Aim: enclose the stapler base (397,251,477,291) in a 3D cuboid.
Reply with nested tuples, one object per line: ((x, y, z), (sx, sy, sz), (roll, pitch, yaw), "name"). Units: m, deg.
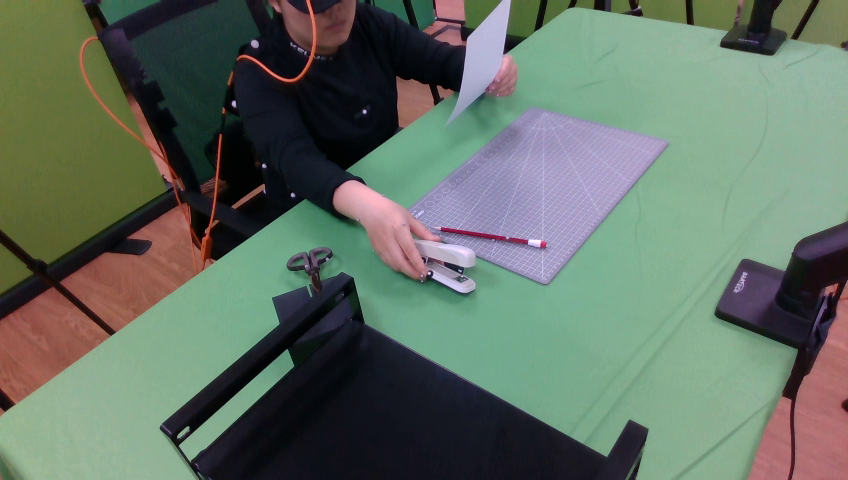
((0.022, 0.039, 0.909), (0.129, 0.024, 0.041), (24, 21, 30), "stapler base")

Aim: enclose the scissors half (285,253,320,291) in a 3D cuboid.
((-0.179, 0.049, 0.909), (0.040, 0.013, 0.174), (-16, 19, -20), "scissors half")

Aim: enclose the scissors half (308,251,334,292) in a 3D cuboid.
((-0.159, 0.046, 0.913), (0.040, 0.013, 0.174), (-5, 17, -5), "scissors half")

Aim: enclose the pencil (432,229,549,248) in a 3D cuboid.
((0.103, -0.004, 0.970), (0.193, 0.012, 0.012), (8, 42, 18), "pencil")

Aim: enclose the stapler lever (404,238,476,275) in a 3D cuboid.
((0.025, 0.016, 0.901), (0.117, 0.040, 0.027), (24, 22, 29), "stapler lever")
